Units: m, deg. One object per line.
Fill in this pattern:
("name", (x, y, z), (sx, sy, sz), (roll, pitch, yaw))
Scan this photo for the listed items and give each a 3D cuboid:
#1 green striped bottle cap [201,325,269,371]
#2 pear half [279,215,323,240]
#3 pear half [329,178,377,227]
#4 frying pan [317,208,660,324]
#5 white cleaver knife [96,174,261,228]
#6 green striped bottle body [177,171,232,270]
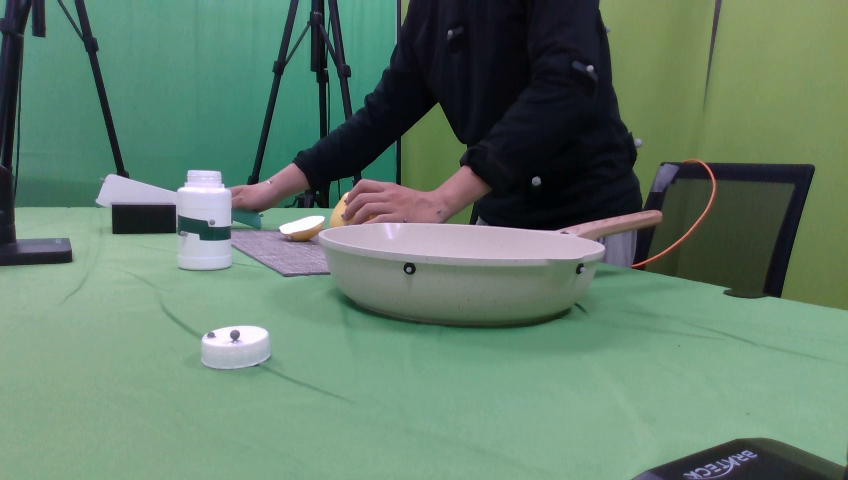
("green striped bottle cap", (-0.129, 0.073, 0.415), (0.044, 0.020, 0.044), (2, 8, 0))
("pear half", (-0.206, -0.017, 1.018), (0.087, 0.031, 0.070), (-7, 17, 36))
("pear half", (-0.106, -0.042, 0.944), (0.077, 0.110, 0.055), (-12, 15, -42))
("frying pan", (0.121, 0.006, 0.691), (0.490, 0.102, 0.305), (-13, 15, -33))
("white cleaver knife", (-0.443, -0.058, 1.119), (0.288, 0.066, 0.021), (14, 4, -29))
("green striped bottle body", (-0.273, -0.026, 0.752), (0.063, 0.119, 0.063), (2, 7, 0))
